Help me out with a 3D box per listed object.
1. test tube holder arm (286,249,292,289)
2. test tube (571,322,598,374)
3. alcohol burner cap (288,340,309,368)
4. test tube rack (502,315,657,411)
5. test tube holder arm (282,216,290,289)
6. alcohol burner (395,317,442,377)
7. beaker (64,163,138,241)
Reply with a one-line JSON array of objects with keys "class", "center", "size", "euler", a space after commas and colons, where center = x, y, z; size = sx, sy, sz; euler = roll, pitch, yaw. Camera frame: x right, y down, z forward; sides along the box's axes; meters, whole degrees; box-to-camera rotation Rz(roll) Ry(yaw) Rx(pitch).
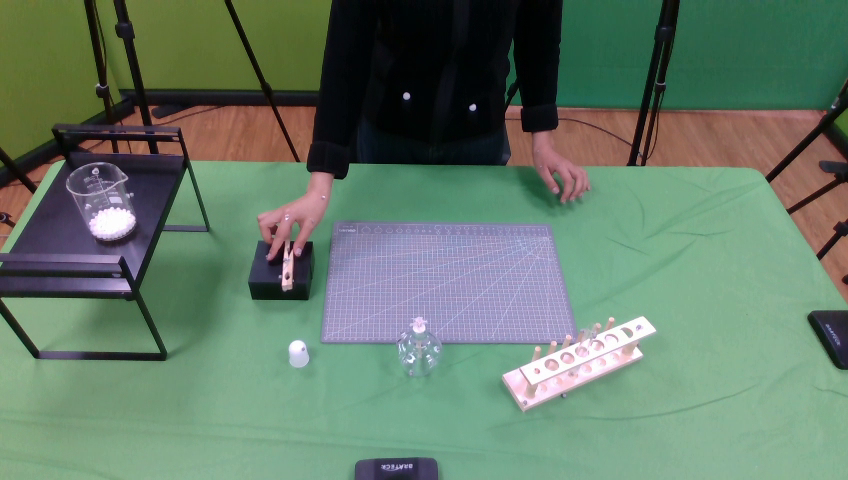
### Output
[{"class": "test tube holder arm", "center": [-0.237, 0.050, 1.065], "size": [0.010, 0.015, 0.087], "euler": [1, 44, -12]}, {"class": "test tube", "center": [0.246, 0.169, 0.935], "size": [0.017, 0.151, 0.017], "euler": [-1, 53, 1]}, {"class": "alcohol burner cap", "center": [-0.207, 0.183, 0.991], "size": [0.034, 0.048, 0.033], "euler": [3, 46, -3]}, {"class": "test tube rack", "center": [0.253, 0.186, 0.988], "size": [0.242, 0.085, 0.066], "euler": [-18, 50, -20]}, {"class": "test tube holder arm", "center": [-0.249, 0.019, 1.095], "size": [0.013, 0.015, 0.177], "euler": [0, 44, -13]}, {"class": "alcohol burner", "center": [-0.009, 0.166, 0.971], "size": [0.078, 0.120, 0.077], "euler": [0, 45, 0]}, {"class": "beaker", "center": [-0.477, -0.055, 0.910], "size": [0.084, 0.101, 0.073], "euler": [-9, 48, -13]}]
